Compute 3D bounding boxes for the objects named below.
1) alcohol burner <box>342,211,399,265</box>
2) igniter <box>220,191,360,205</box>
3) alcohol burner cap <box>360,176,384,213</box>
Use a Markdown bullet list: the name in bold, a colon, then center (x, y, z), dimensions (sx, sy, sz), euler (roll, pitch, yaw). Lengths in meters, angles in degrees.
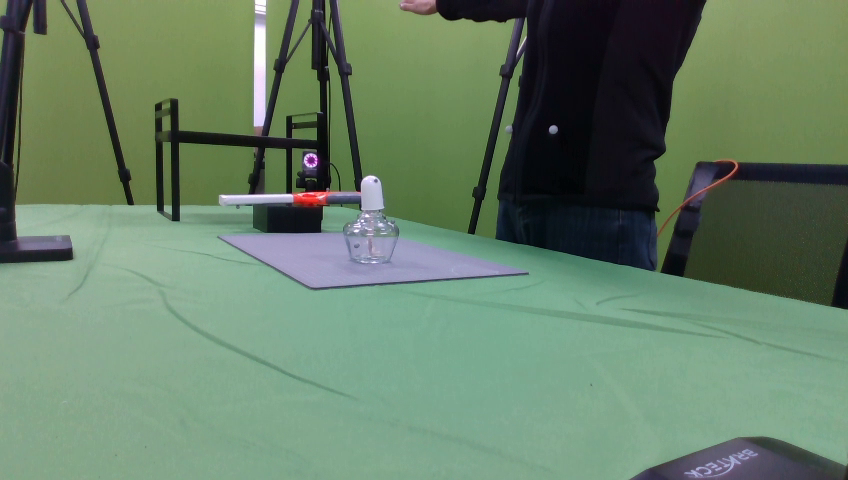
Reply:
- **alcohol burner**: center (-0.073, -0.027, 0.818), dimensions (0.078, 0.119, 0.078), euler (1, 6, 0)
- **igniter**: center (-0.243, -0.079, 1.152), dimensions (0.278, 0.025, 0.057), euler (-3, 12, -26)
- **alcohol burner cap**: center (-0.071, -0.063, 0.814), dimensions (0.034, 0.048, 0.034), euler (-2, 12, 1)
